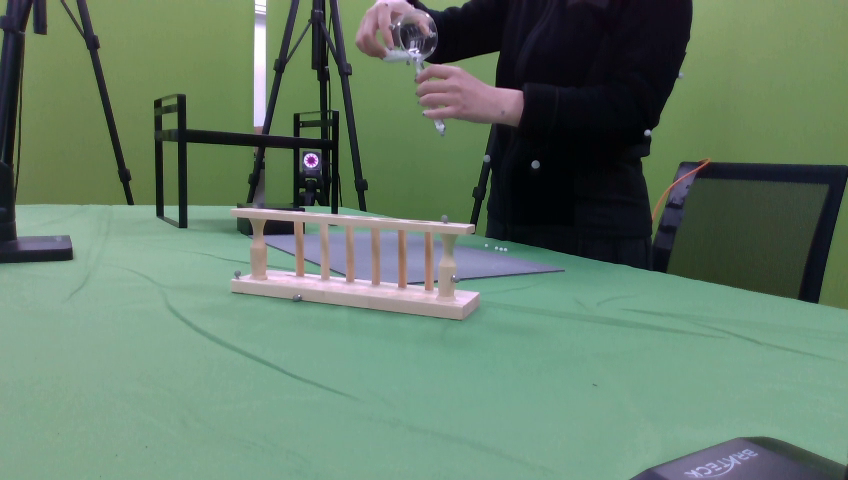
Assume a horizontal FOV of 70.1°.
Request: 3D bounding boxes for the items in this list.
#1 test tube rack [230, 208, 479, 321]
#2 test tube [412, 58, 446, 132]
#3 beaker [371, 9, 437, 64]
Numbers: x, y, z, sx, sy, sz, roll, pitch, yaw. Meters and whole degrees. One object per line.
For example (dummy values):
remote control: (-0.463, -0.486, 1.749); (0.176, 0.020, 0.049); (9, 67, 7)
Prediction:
test tube rack: (-0.069, 0.017, 0.598); (0.242, 0.085, 0.067); (5, 8, 18)
test tube: (0.008, -0.225, 0.937); (0.017, 0.149, 0.017); (-13, -29, -7)
beaker: (-0.036, -0.332, 1.003); (0.074, 0.084, 0.100); (-7, 13, -33)
